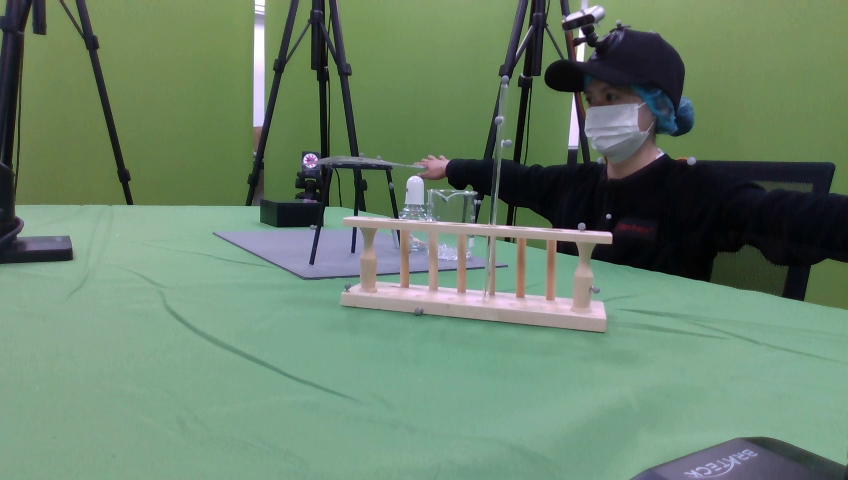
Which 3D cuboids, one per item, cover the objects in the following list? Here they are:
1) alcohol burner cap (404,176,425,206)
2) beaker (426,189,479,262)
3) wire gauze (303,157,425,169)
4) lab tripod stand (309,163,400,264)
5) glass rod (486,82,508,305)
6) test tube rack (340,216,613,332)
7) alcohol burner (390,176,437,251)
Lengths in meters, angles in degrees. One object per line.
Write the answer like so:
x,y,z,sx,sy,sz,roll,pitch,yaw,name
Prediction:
-0.015,-0.077,0.951,0.034,0.048,0.034,3,4,0,alcohol burner cap
0.039,-0.022,0.871,0.074,0.100,0.084,4,8,12,beaker
-0.082,-0.102,0.799,0.126,0.011,0.121,-1,7,-30,wire gauze
-0.091,-0.037,0.813,0.148,0.131,0.148,1,6,0,lab tripod stand
0.064,-0.035,0.528,0.008,0.199,0.008,2,13,0,glass rod
0.047,0.026,0.568,0.242,0.085,0.067,4,8,13,test tube rack
-0.016,-0.042,0.955,0.078,0.119,0.078,4,6,0,alcohol burner
